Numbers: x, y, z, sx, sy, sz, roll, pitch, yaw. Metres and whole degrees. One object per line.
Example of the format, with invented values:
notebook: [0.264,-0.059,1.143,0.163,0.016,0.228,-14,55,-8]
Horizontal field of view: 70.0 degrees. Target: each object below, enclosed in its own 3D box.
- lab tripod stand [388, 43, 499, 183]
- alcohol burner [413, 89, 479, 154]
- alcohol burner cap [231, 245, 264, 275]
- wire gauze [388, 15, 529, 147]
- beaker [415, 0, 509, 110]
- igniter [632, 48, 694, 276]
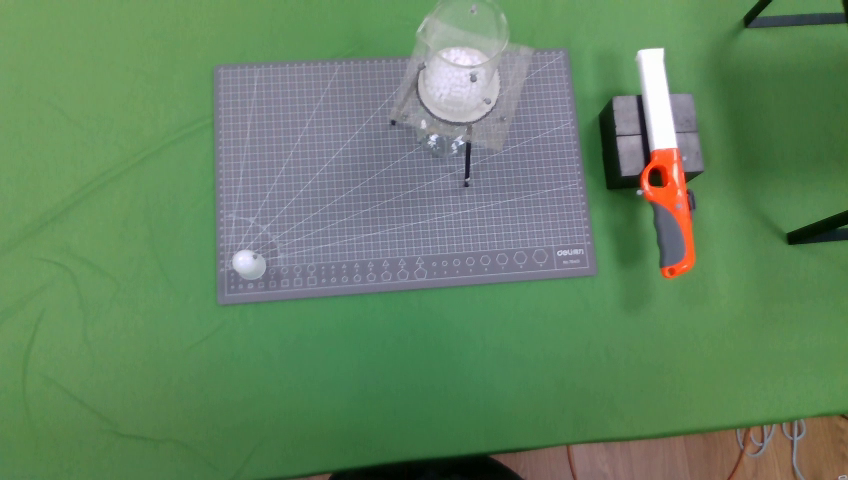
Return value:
lab tripod stand: [0.032,-0.155,0.693,0.148,0.132,0.147,1,76,-3]
alcohol burner: [0.027,-0.144,0.700,0.078,0.119,0.077,0,80,-2]
alcohol burner cap: [-0.203,0.021,0.690,0.034,0.048,0.033,1,78,-4]
wire gauze: [0.038,-0.165,0.629,0.121,0.011,0.124,19,74,-2]
beaker: [0.031,-0.175,0.581,0.084,0.100,0.073,-3,77,-4]
igniter: [0.276,-0.095,0.706,0.057,0.025,0.275,-4,78,2]
